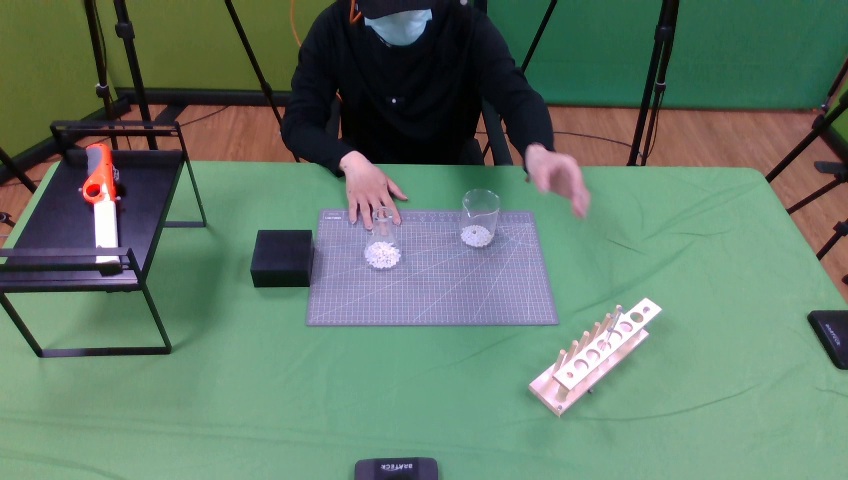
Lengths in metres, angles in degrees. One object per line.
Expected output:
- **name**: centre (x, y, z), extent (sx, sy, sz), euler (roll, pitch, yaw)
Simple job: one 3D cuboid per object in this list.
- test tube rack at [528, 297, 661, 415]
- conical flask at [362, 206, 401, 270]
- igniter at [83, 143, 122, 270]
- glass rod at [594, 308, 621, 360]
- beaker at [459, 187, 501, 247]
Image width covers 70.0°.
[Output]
- **test tube rack**: centre (0.285, 0.178, 1.005), extent (0.242, 0.085, 0.066), euler (-31, 55, -29)
- **conical flask**: centre (-0.078, -0.008, 1.126), extent (0.075, 0.122, 0.075), euler (2, 46, -2)
- **igniter**: centre (-0.508, -0.063, 0.962), extent (0.057, 0.025, 0.274), euler (-14, 53, -18)
- **glass rod**: centre (0.278, 0.156, 0.934), extent (0.008, 0.201, 0.008), euler (-1, 54, 1)
- **beaker**: centre (0.106, -0.039, 1.186), extent (0.074, 0.101, 0.084), euler (22, 50, 17)
